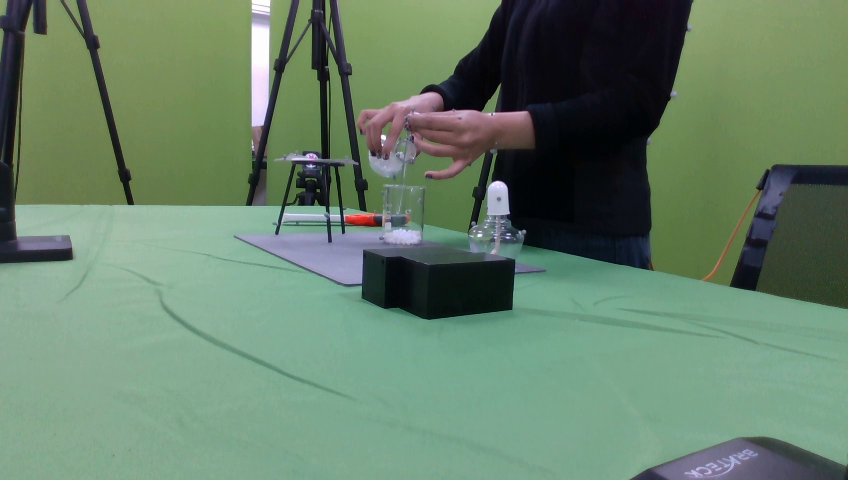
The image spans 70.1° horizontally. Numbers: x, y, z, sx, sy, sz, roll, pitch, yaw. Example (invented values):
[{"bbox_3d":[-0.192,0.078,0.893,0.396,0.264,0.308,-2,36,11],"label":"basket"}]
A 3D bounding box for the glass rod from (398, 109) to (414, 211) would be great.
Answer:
[{"bbox_3d":[-0.028,-0.123,0.971,0.008,0.199,0.008,5,42,-4],"label":"glass rod"}]

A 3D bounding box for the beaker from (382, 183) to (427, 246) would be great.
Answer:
[{"bbox_3d":[-0.033,-0.044,1.008,0.074,0.100,0.084,6,7,22],"label":"beaker"}]

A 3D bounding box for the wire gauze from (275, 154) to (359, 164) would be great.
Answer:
[{"bbox_3d":[-0.179,-0.137,1.028,0.121,0.011,0.125,4,8,0],"label":"wire gauze"}]

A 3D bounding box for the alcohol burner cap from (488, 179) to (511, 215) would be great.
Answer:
[{"bbox_3d":[0.101,-0.058,0.816,0.034,0.048,0.034,-4,9,1],"label":"alcohol burner cap"}]

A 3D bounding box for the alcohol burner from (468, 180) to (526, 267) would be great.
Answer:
[{"bbox_3d":[0.101,-0.022,0.821,0.078,0.119,0.078,4,8,0],"label":"alcohol burner"}]

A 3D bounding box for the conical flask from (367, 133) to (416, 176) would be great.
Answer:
[{"bbox_3d":[-0.048,-0.149,1.026,0.075,0.075,0.121,0,3,-19],"label":"conical flask"}]

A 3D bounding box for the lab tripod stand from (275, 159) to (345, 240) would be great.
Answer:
[{"bbox_3d":[-0.181,-0.072,1.039,0.148,0.131,0.148,4,8,0],"label":"lab tripod stand"}]

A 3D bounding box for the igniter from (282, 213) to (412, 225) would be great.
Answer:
[{"bbox_3d":[-0.159,-0.046,1.286,0.278,0.025,0.057,0,-3,-22],"label":"igniter"}]
